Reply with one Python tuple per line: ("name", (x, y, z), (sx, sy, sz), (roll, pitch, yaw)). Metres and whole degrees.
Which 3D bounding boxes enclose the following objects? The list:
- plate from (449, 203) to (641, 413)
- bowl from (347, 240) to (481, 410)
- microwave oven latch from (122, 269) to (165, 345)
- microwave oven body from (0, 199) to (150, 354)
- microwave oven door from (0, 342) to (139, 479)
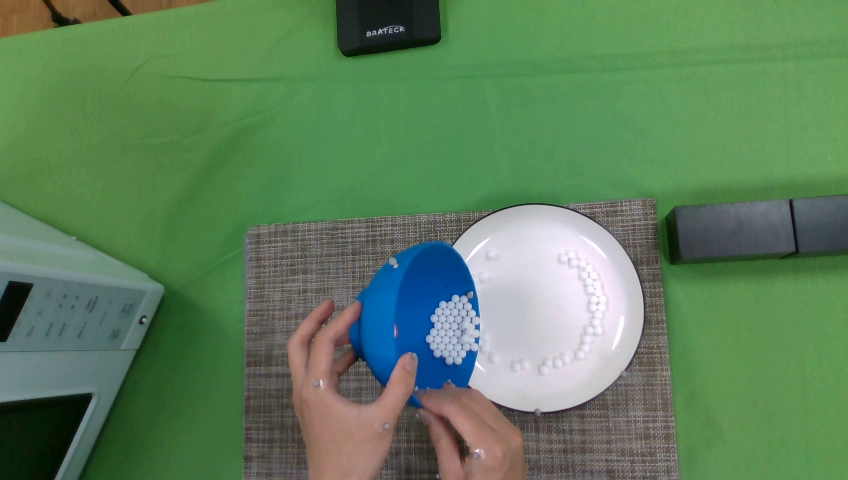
("plate", (0.108, 0.067, 0.611), (0.207, 0.039, 0.207), (-2, 81, 10))
("bowl", (-0.017, 0.077, 0.556), (0.076, 0.152, 0.151), (-5, 80, 32))
("microwave oven latch", (-0.320, 0.075, 0.676), (0.030, 0.029, 0.079), (25, 87, 13))
("microwave oven body", (-0.543, 0.166, 0.606), (0.325, 0.261, 0.441), (23, 87, 13))
("microwave oven door", (-0.430, 0.259, 0.565), (0.039, 0.245, 0.355), (23, 86, 14))
